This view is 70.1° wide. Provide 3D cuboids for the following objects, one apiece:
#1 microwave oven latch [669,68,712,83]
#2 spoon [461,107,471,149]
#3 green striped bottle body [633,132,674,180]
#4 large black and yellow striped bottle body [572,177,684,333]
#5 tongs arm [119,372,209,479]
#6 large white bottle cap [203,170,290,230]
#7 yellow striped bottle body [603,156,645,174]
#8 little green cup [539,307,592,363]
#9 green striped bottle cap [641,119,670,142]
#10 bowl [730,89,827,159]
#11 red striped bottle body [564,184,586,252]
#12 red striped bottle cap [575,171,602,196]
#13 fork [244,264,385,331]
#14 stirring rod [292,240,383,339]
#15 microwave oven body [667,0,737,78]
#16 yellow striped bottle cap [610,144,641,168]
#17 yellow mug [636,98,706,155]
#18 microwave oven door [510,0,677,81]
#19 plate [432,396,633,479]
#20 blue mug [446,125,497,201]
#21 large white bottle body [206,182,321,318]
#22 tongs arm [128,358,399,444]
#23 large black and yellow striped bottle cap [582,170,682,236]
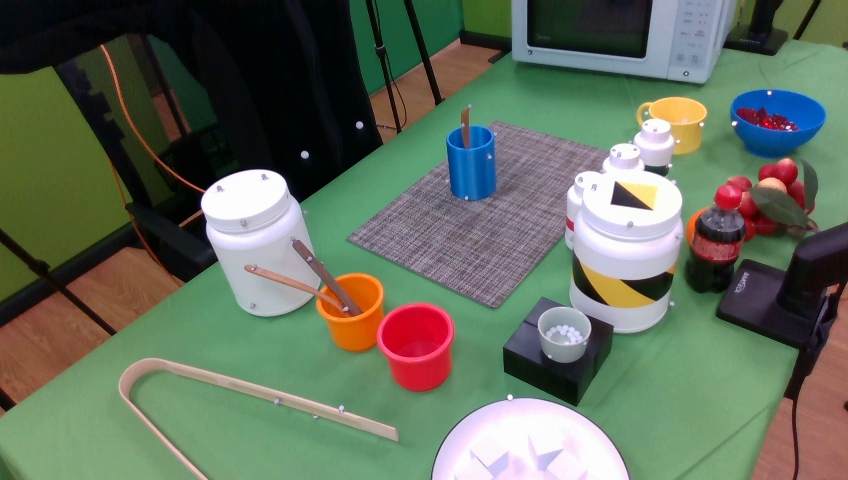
[{"bbox_3d":[0.555,-0.348,1.263,0.078,0.029,0.030,15,46,26],"label":"microwave oven latch"},{"bbox_3d":[0.073,-0.153,0.987,0.041,0.195,0.021,-25,59,-4],"label":"spoon"},{"bbox_3d":[0.376,-0.135,1.001,0.063,0.120,0.063,-5,40,5],"label":"green striped bottle body"},{"bbox_3d":[0.262,0.017,0.788,0.131,0.185,0.130,-5,40,4],"label":"large black and yellow striped bottle body"},{"bbox_3d":[-0.258,0.257,0.700,0.384,0.028,0.028,24,55,34],"label":"tongs arm"},{"bbox_3d":[-0.241,-0.057,0.822,0.115,0.018,0.114,-4,41,4],"label":"large white bottle cap"},{"bbox_3d":[0.313,-0.089,0.956,0.063,0.121,0.062,-4,40,4],"label":"yellow striped bottle body"},{"bbox_3d":[0.167,0.114,0.721,0.061,0.039,0.061,-4,43,4],"label":"little green cup"},{"bbox_3d":[0.371,-0.175,0.968,0.044,0.020,0.044,-5,42,5],"label":"green striped bottle cap"},{"bbox_3d":[0.615,-0.197,1.069,0.151,0.077,0.150,-5,40,5],"label":"bowl"},{"bbox_3d":[0.247,-0.041,0.910,0.063,0.120,0.062,-3,39,3],"label":"red striped bottle body"},{"bbox_3d":[0.242,-0.081,0.876,0.044,0.018,0.044,-5,44,5],"label":"red striped bottle cap"},{"bbox_3d":[-0.142,0.078,0.806,0.209,0.018,0.028,30,33,-23],"label":"fork"},{"bbox_3d":[-0.118,0.068,0.826,0.176,0.006,0.014,49,60,-4],"label":"stirring rod"},{"bbox_3d":[0.462,-0.552,1.369,0.439,0.261,0.326,15,46,26],"label":"microwave oven body"},{"bbox_3d":[0.307,-0.128,0.923,0.044,0.019,0.044,-5,39,5],"label":"yellow striped bottle cap"},{"bbox_3d":[0.453,-0.217,1.128,0.100,0.064,0.129,-34,46,-27],"label":"yellow mug"},{"bbox_3d":[0.354,-0.478,1.290,0.353,0.245,0.039,15,45,25],"label":"microwave oven door"},{"bbox_3d":[0.112,0.261,0.634,0.209,0.038,0.208,-5,40,4],"label":"plate"},{"bbox_3d":[0.082,-0.144,1.064,0.082,0.106,0.116,-10,40,-2],"label":"blue mug"},{"bbox_3d":[-0.233,0.008,0.876,0.130,0.185,0.130,-5,40,4],"label":"large white bottle body"},{"bbox_3d":[-0.213,0.205,0.755,0.382,0.026,0.051,12,46,23],"label":"tongs arm"},{"bbox_3d":[0.252,-0.048,0.735,0.115,0.019,0.114,-3,40,3],"label":"large black and yellow striped bottle cap"}]
